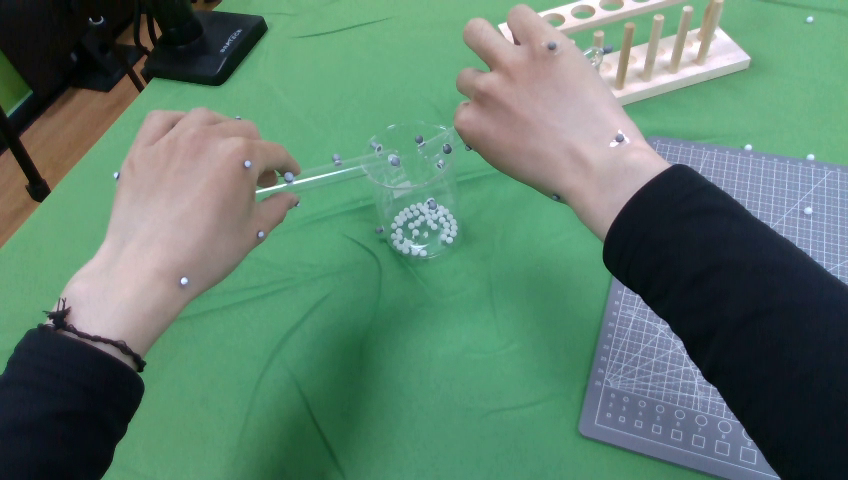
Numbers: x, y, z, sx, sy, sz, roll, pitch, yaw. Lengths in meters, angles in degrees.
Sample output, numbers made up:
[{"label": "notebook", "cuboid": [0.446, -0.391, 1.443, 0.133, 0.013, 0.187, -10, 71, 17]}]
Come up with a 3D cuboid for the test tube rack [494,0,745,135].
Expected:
[{"label": "test tube rack", "cuboid": [0.195, -0.188, 0.593, 0.242, 0.086, 0.066, -17, 53, -4]}]

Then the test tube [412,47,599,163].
[{"label": "test tube", "cuboid": [0.059, -0.099, 0.444, 0.150, 0.017, 0.017, -29, 52, 8]}]

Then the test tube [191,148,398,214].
[{"label": "test tube", "cuboid": [-0.090, -0.043, 0.435, 0.151, 0.017, 0.017, -16, 52, -17]}]

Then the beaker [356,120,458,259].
[{"label": "beaker", "cuboid": [-0.008, -0.039, 0.505, 0.084, 0.101, 0.073, -39, 58, -20]}]
